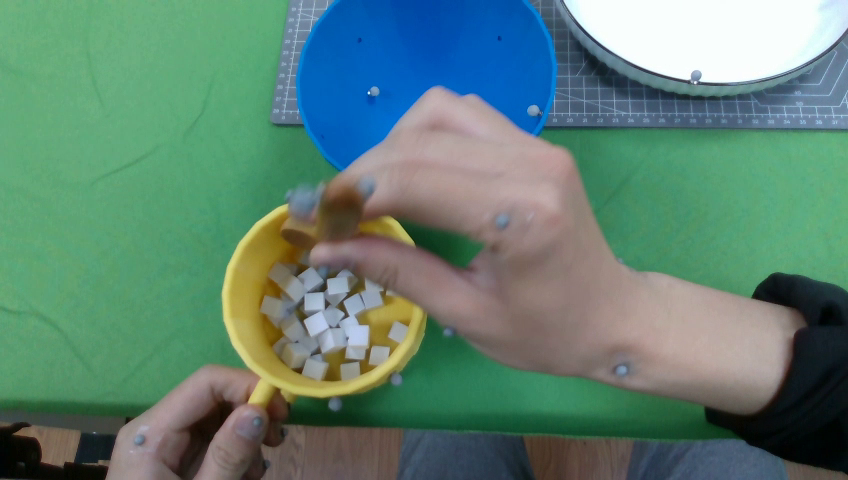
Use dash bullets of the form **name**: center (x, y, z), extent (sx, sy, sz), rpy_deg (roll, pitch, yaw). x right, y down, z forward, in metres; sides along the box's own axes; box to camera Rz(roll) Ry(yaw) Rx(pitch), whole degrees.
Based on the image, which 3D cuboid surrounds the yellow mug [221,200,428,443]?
- **yellow mug**: center (-0.055, 0.048, 0.320), extent (0.100, 0.064, 0.130), rpy_deg (29, 79, 6)

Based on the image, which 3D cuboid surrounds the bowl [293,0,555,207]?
- **bowl**: center (0.003, -0.082, 0.381), extent (0.151, 0.077, 0.150), rpy_deg (-1, 73, 5)

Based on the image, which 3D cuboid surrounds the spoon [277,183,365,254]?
- **spoon**: center (-0.038, -0.003, 0.239), extent (0.042, 0.193, 0.021), rpy_deg (0, 90, -13)

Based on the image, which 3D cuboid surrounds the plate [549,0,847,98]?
- **plate**: center (0.187, -0.184, 0.423), extent (0.209, 0.038, 0.207), rpy_deg (-2, 69, 4)
